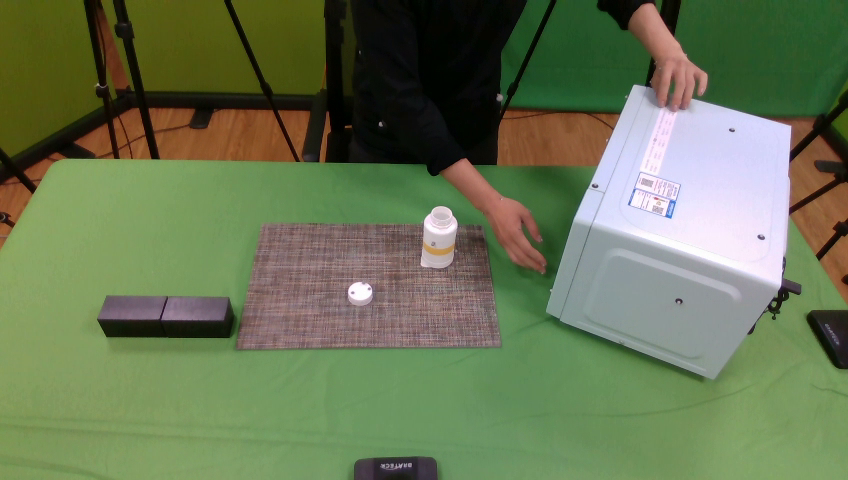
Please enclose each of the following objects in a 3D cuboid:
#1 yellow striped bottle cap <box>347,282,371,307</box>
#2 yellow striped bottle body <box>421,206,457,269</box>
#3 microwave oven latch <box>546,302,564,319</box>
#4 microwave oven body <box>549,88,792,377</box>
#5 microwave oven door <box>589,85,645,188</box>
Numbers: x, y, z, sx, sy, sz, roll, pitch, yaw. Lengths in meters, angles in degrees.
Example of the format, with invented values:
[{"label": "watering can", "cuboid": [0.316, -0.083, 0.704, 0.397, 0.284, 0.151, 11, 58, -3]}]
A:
[{"label": "yellow striped bottle cap", "cuboid": [-0.117, 0.098, 1.093, 0.044, 0.019, 0.044, 3, 45, -3]}, {"label": "yellow striped bottle body", "cuboid": [0.028, -0.008, 1.132, 0.063, 0.121, 0.062, 2, 46, -2]}, {"label": "microwave oven latch", "cuboid": [0.242, 0.102, 1.081, 0.030, 0.029, 0.079, 22, 48, 17]}, {"label": "microwave oven body", "cuboid": [0.455, -0.028, 1.088, 0.325, 0.261, 0.440, 20, 47, 16]}, {"label": "microwave oven door", "cuboid": [0.341, -0.108, 1.149, 0.039, 0.245, 0.354, 21, 48, 15]}]
